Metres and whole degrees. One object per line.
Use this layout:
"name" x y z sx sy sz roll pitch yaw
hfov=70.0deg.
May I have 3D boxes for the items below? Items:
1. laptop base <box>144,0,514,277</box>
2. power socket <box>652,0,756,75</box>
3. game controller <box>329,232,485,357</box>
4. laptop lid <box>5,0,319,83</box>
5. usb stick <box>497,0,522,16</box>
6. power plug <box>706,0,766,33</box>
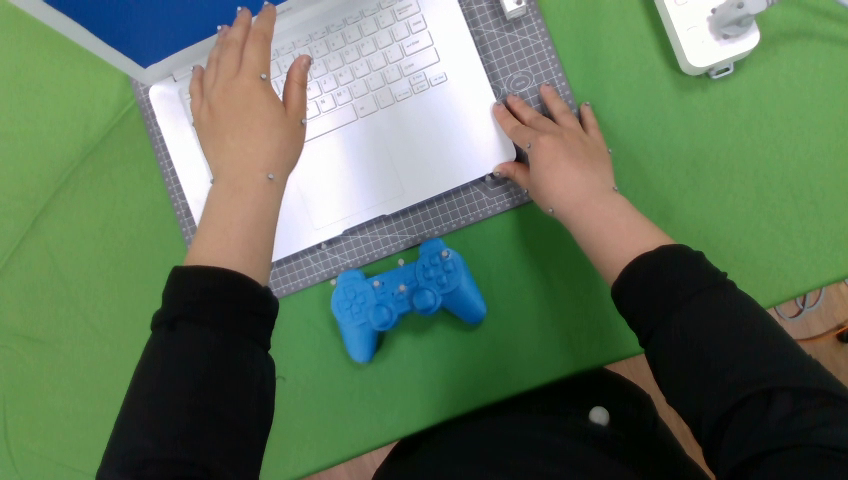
"laptop base" -0.108 -0.129 0.650 0.354 0.023 0.235 -22 90 8
"power socket" 0.251 -0.273 0.589 0.072 0.032 0.226 -20 87 9
"game controller" -0.023 0.055 0.624 0.155 0.052 0.097 -20 82 8
"laptop lid" -0.176 -0.257 0.542 0.356 0.243 0.013 -22 78 9
"usb stick" 0.080 -0.262 0.616 0.021 0.027 0.059 -20 85 8
"power plug" 0.301 -0.214 0.562 0.072 0.053 0.035 -9 87 4
